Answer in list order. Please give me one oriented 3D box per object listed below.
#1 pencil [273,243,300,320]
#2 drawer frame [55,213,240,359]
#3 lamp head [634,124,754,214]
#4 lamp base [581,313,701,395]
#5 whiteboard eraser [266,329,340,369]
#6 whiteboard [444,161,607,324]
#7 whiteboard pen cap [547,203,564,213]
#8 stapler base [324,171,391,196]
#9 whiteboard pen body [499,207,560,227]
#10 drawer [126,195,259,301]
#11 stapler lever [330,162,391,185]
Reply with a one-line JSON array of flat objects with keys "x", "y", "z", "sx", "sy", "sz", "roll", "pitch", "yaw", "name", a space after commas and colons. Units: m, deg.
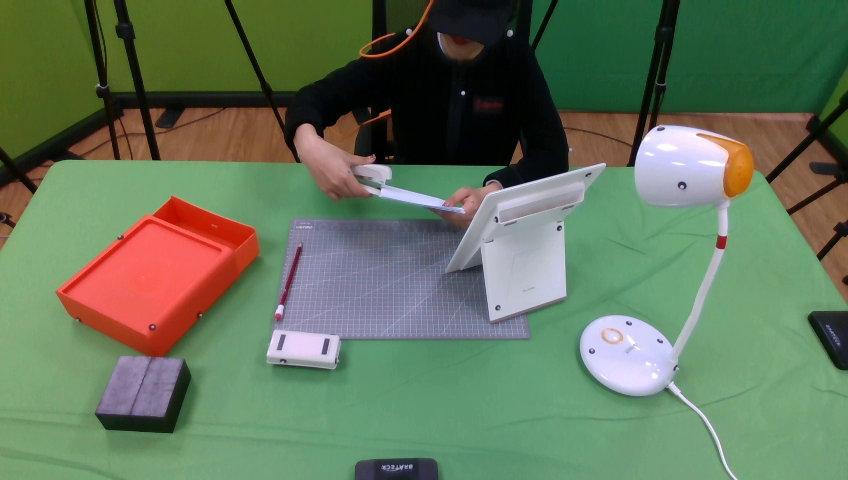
[{"x": -0.249, "y": 0.071, "z": 1.115, "sx": 0.012, "sy": 0.012, "sz": 0.193, "roll": 5, "pitch": 43, "yaw": 1, "name": "pencil"}, {"x": -0.469, "y": 0.072, "z": 1.050, "sx": 0.201, "sy": 0.083, "sz": 0.213, "roll": 21, "pitch": 49, "yaw": 14, "name": "drawer frame"}, {"x": 0.351, "y": -0.089, "z": 0.776, "sx": 0.112, "sy": 0.113, "sz": 0.122, "roll": -30, "pitch": 30, "yaw": -28, "name": "lamp head"}, {"x": 0.361, "y": 0.144, "z": 0.973, "sx": 0.178, "sy": 0.181, "sz": 0.160, "roll": 34, "pitch": 53, "yaw": 23, "name": "lamp base"}, {"x": -0.198, "y": 0.181, "z": 0.994, "sx": 0.113, "sy": 0.042, "sz": 0.055, "roll": 5, "pitch": 45, "yaw": 1, "name": "whiteboard eraser"}, {"x": 0.186, "y": 0.025, "z": 1.029, "sx": 0.217, "sy": 0.306, "sz": 0.143, "roll": -15, "pitch": 68, "yaw": -18, "name": "whiteboard"}, {"x": 0.277, "y": -0.066, "z": 1.275, "sx": 0.033, "sy": 0.018, "sz": 0.018, "roll": -18, "pitch": 50, "yaw": -15, "name": "whiteboard pen cap"}, {"x": -0.125, "y": -0.114, "z": 1.173, "sx": 0.130, "sy": 0.024, "sz": 0.041, "roll": 16, "pitch": 10, "yaw": 4, "name": "stapler base"}, {"x": 0.222, "y": -0.051, "z": 1.259, "sx": 0.141, "sy": 0.017, "sz": 0.017, "roll": -15, "pitch": 49, "yaw": -16, "name": "whiteboard pen body"}, {"x": -0.442, "y": 0.032, "z": 1.093, "sx": 0.194, "sy": 0.073, "sz": 0.211, "roll": 21, "pitch": 49, "yaw": 15, "name": "drawer"}, {"x": -0.120, "y": -0.137, "z": 1.167, "sx": 0.118, "sy": 0.040, "sz": 0.027, "roll": 17, "pitch": 10, "yaw": 4, "name": "stapler lever"}]
